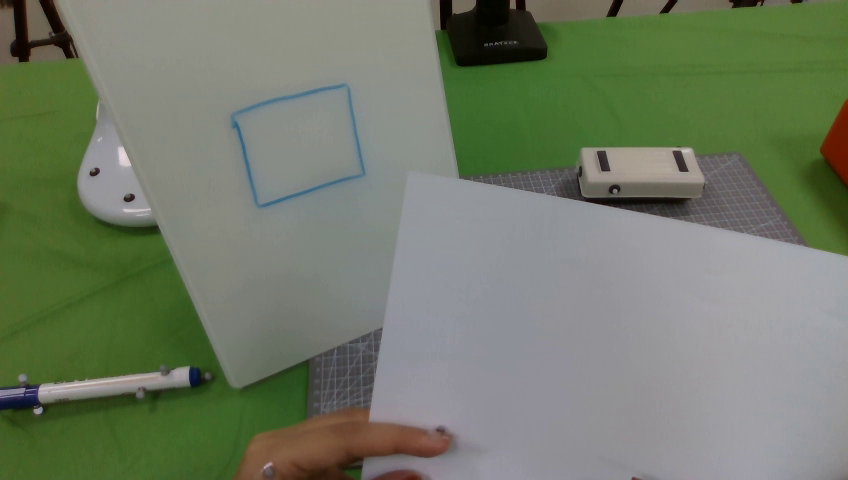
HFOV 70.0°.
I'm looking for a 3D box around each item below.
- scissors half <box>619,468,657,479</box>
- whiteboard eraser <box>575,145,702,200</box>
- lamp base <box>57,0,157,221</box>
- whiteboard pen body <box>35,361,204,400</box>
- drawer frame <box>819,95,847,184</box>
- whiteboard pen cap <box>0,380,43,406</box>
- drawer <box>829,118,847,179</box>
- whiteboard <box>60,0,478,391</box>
[{"bbox_3d":[0.163,0.126,0.243,0.174,0.040,0.013,12,84,38],"label":"scissors half"},{"bbox_3d":[0.207,-0.065,0.593,0.113,0.042,0.055,0,45,2],"label":"whiteboard eraser"},{"bbox_3d":[-0.287,-0.135,0.581,0.178,0.182,0.160,25,52,26],"label":"lamp base"},{"bbox_3d":[-0.241,0.108,0.458,0.141,0.017,0.017,-6,46,-8],"label":"whiteboard pen body"},{"bbox_3d":[0.516,-0.049,0.545,0.202,0.083,0.211,-5,46,-1],"label":"drawer frame"},{"bbox_3d":[-0.300,0.113,0.451,0.033,0.018,0.018,-4,46,-11],"label":"whiteboard pen cap"},{"bbox_3d":[0.517,-0.044,0.541,0.194,0.074,0.209,-4,46,0],"label":"drawer"},{"bbox_3d":[-0.103,-0.079,0.476,0.217,0.308,0.142,-21,30,-16],"label":"whiteboard"}]
